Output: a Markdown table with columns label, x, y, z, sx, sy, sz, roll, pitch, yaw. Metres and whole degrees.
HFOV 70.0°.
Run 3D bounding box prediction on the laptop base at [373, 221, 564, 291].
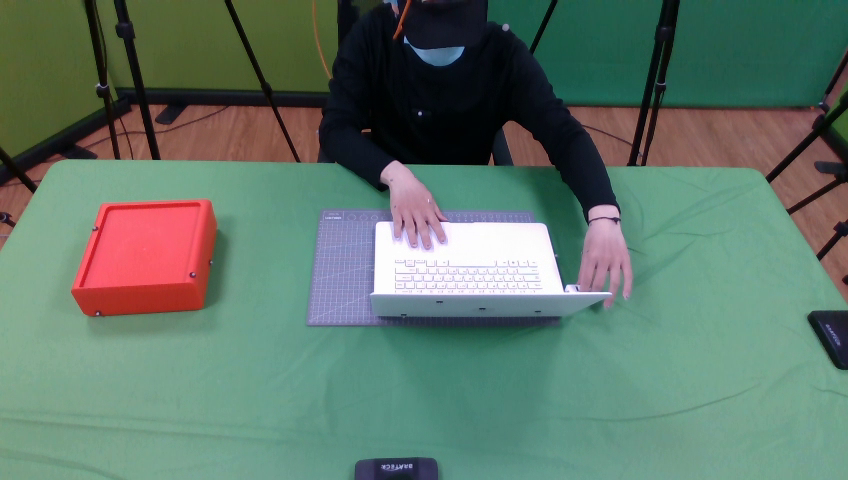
| label | x | y | z | sx | sy | sz | roll | pitch | yaw |
| --- | --- | --- | --- | --- | --- | --- | --- | --- | --- |
| laptop base | 0.080 | 0.050 | 1.159 | 0.355 | 0.023 | 0.234 | 0 | 43 | -4 |

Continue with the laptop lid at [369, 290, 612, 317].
| label | x | y | z | sx | sy | sz | roll | pitch | yaw |
| --- | --- | --- | --- | --- | --- | --- | --- | --- | --- |
| laptop lid | 0.091 | 0.104 | 0.965 | 0.357 | 0.242 | 0.013 | 1 | 75 | -5 |

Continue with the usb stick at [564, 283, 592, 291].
| label | x | y | z | sx | sy | sz | roll | pitch | yaw |
| --- | --- | --- | --- | --- | --- | --- | --- | --- | --- |
| usb stick | 0.276 | 0.095 | 1.113 | 0.059 | 0.027 | 0.021 | -1 | 47 | -6 |

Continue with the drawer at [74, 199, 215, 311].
| label | x | y | z | sx | sy | sz | roll | pitch | yaw |
| --- | --- | --- | --- | --- | --- | --- | --- | --- | --- |
| drawer | -0.494 | 0.022 | 1.097 | 0.195 | 0.073 | 0.210 | -2 | 47 | -8 |

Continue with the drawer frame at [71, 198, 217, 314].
| label | x | y | z | sx | sy | sz | roll | pitch | yaw |
| --- | --- | --- | --- | --- | --- | --- | --- | --- | --- |
| drawer frame | -0.493 | 0.024 | 1.095 | 0.202 | 0.083 | 0.212 | -3 | 47 | -8 |
